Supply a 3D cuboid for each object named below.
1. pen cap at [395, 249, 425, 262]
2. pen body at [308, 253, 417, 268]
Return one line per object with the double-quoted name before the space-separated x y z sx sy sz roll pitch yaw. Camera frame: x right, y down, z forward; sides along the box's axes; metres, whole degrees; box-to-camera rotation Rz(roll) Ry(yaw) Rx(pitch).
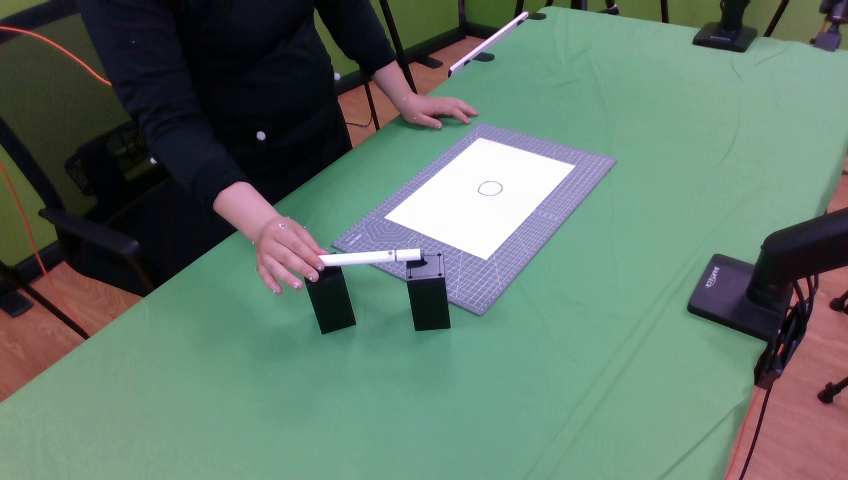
"pen cap" -0.018 0.021 0.799 0.038 0.017 0.017 -5 40 0
"pen body" -0.081 0.027 0.798 0.144 0.017 0.017 -3 40 6
